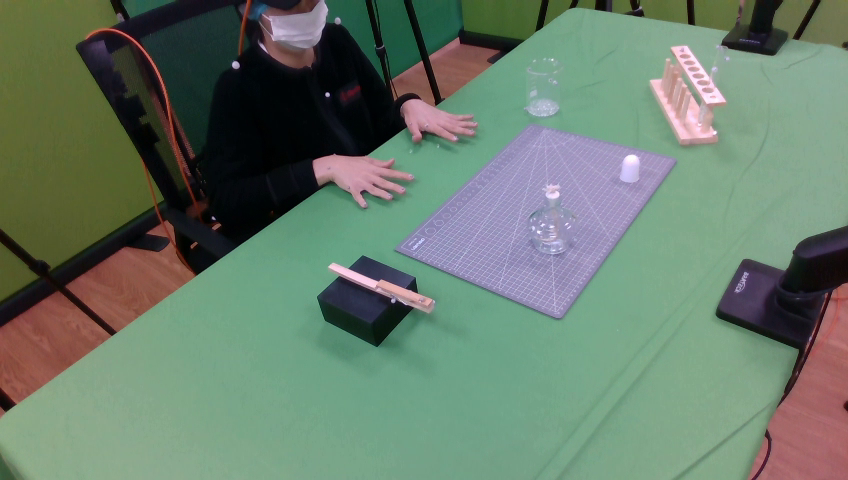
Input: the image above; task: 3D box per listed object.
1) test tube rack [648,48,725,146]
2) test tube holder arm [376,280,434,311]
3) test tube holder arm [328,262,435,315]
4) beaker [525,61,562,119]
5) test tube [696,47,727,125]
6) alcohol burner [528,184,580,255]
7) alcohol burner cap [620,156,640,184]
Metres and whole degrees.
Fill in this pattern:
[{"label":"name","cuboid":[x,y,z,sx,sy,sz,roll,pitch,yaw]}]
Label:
[{"label":"test tube rack","cuboid":[0.508,-0.285,1.186,0.067,0.085,0.241,-4,40,6]},{"label":"test tube holder arm","cuboid":[-0.026,0.074,0.811,0.087,0.010,0.015,19,48,29]},{"label":"test tube holder arm","cuboid":[-0.062,0.065,0.836,0.177,0.013,0.015,20,48,28]},{"label":"beaker","cuboid":[0.248,-0.308,1.245,0.073,0.101,0.084,29,52,36]},{"label":"test tube","cuboid":[0.519,-0.276,1.094,0.017,0.151,0.017,-1,42,2]},{"label":"alcohol burner","cuboid":[0.196,-0.036,0.911,0.078,0.119,0.077,-6,41,5]},{"label":"alcohol burner cap","cuboid":[0.358,-0.124,1.047,0.034,0.048,0.033,-4,40,4]}]
